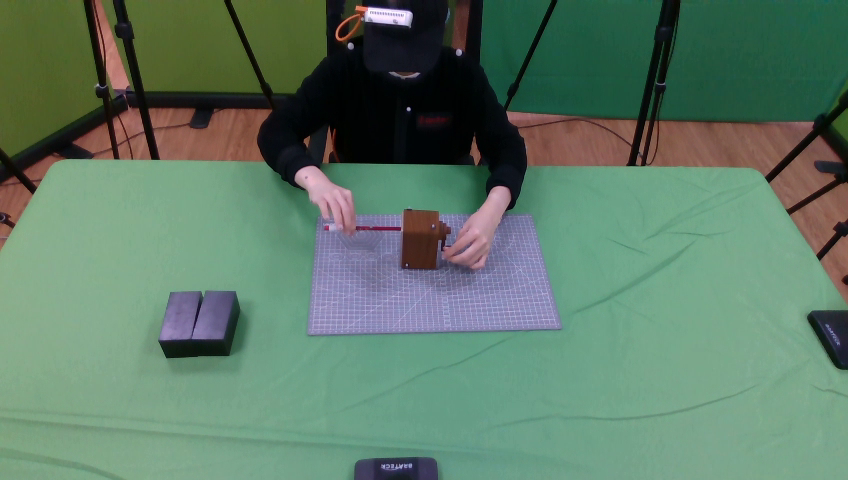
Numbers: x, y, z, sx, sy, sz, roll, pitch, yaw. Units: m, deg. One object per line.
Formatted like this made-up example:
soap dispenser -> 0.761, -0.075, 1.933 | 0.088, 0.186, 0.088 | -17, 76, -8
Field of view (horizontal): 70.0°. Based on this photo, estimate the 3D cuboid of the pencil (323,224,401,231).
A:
pencil -> -0.088, -0.021, 1.113 | 0.194, 0.012, 0.012 | 2, 46, -2

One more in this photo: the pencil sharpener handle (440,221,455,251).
pencil sharpener handle -> 0.046, -0.006, 1.126 | 0.030, 0.068, 0.036 | 2, 39, -2

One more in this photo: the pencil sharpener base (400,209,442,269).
pencil sharpener base -> -0.006, 0.000, 1.134 | 0.077, 0.107, 0.061 | 2, 45, -2
